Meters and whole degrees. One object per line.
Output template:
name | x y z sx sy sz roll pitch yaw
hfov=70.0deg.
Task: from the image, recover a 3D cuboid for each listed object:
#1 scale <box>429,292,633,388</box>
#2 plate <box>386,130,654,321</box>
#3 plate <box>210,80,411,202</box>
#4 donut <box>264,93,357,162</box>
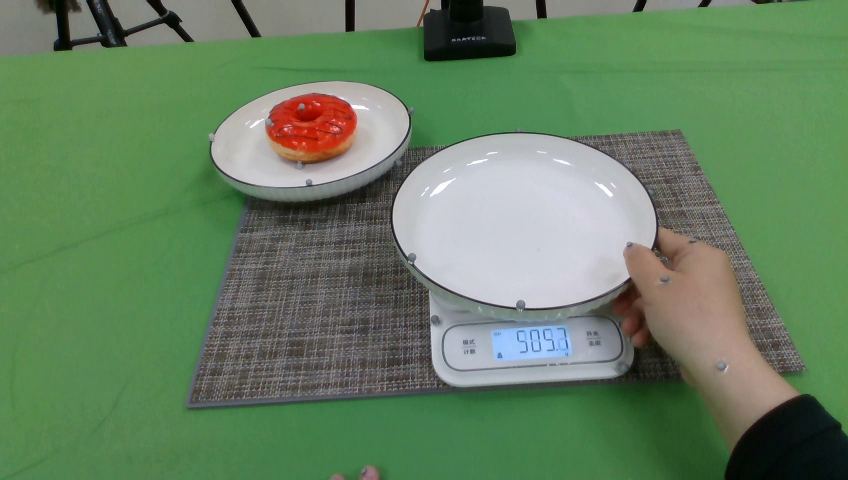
scale | 0.078 0.026 0.498 0.148 0.032 0.199 -4 45 2
plate | 0.074 -0.014 0.491 0.207 0.039 0.205 -2 45 2
plate | -0.116 -0.104 0.642 0.209 0.038 0.207 -3 43 3
donut | -0.120 -0.119 0.642 0.099 0.049 0.098 -2 43 2
